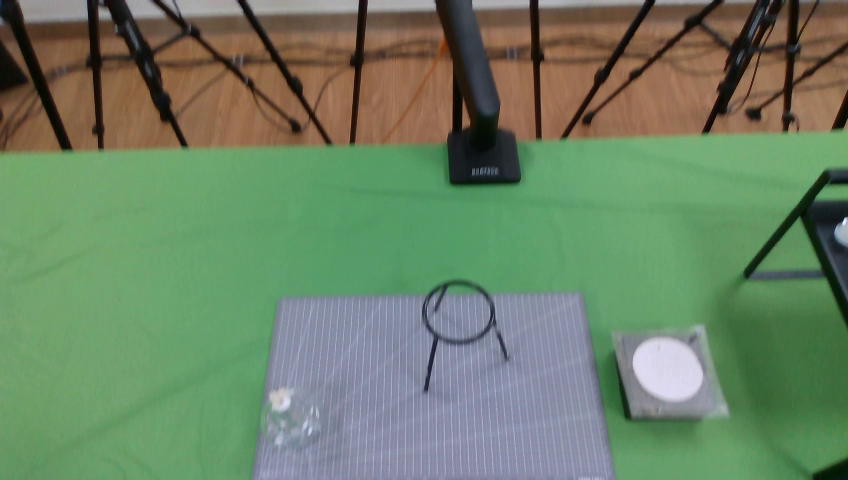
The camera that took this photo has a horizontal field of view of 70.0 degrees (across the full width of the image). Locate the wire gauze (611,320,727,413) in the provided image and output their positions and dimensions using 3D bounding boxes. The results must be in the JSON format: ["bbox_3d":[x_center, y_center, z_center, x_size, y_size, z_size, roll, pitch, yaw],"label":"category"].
[{"bbox_3d":[0.311,0.162,0.774,0.125,0.011,0.120,-2,59,0],"label":"wire gauze"}]

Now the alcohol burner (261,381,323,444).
[{"bbox_3d":[-0.165,0.206,0.742,0.078,0.120,0.077,0,59,0],"label":"alcohol burner"}]

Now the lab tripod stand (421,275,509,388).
[{"bbox_3d":[0.040,0.113,0.789,0.148,0.132,0.147,-1,57,2],"label":"lab tripod stand"}]

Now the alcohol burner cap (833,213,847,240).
[{"bbox_3d":[0.514,-0.024,0.716,0.034,0.048,0.033,-1,59,2],"label":"alcohol burner cap"}]
